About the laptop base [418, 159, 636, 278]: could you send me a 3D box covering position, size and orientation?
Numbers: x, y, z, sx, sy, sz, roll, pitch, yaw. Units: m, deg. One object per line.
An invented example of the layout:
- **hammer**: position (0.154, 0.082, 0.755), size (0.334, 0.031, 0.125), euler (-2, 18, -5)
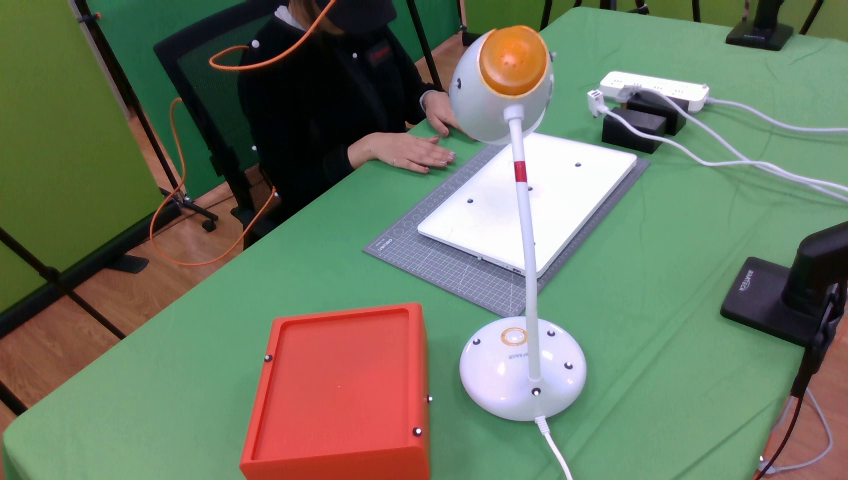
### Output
- **laptop base**: position (0.185, -0.074, 1.042), size (0.233, 0.023, 0.355), euler (19, 47, 35)

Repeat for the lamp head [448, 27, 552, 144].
- **lamp head**: position (0.082, -0.161, 0.618), size (0.112, 0.112, 0.123), euler (-10, 2, -1)

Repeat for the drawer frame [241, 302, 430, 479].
- **drawer frame**: position (-0.095, 0.184, 0.739), size (0.202, 0.083, 0.212), euler (-7, 40, 3)

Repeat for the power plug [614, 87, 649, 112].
- **power plug**: position (0.406, -0.275, 1.192), size (0.035, 0.053, 0.072), euler (-15, 24, -16)

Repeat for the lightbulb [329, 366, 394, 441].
- **lightbulb**: position (-0.081, 0.195, 0.738), size (0.060, 0.060, 0.107), euler (-32, 61, -25)

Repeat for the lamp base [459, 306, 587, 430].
- **lamp base**: position (0.119, 0.107, 0.713), size (0.161, 0.181, 0.178), euler (-14, 42, -6)

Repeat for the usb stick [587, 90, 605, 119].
- **usb stick**: position (0.334, -0.258, 1.170), size (0.021, 0.059, 0.027), euler (-28, 44, -5)

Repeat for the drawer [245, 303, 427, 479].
- **drawer**: position (-0.097, 0.184, 0.743), size (0.194, 0.073, 0.210), euler (-6, 41, 3)

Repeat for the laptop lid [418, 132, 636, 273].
- **laptop lid**: position (0.181, -0.084, 1.036), size (0.239, 0.013, 0.358), euler (22, 49, 35)

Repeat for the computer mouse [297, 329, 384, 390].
- **computer mouse**: position (-0.111, 0.156, 0.799), size (0.117, 0.041, 0.062), euler (-15, 41, 1)

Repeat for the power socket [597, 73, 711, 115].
- **power socket**: position (0.469, -0.304, 1.249), size (0.225, 0.033, 0.072), euler (20, 49, 30)
